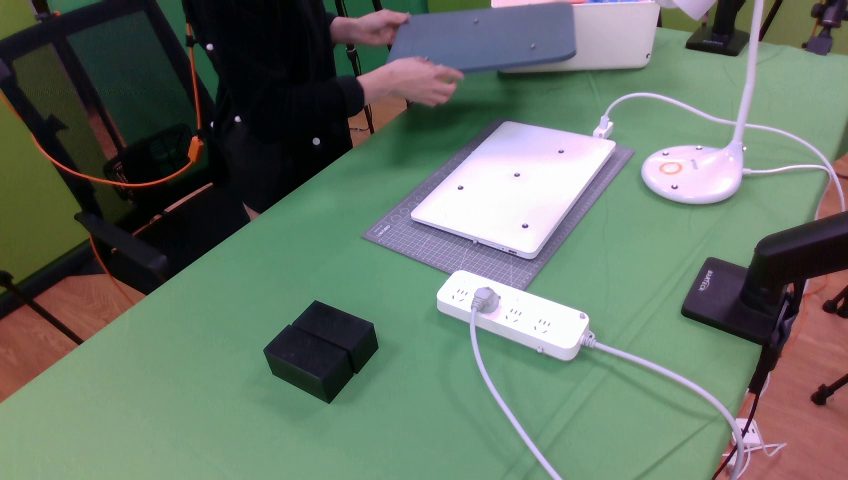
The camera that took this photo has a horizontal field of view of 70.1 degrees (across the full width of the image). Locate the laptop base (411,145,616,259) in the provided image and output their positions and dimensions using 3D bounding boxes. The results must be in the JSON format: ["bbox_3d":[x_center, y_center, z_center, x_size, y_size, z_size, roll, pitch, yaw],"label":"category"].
[{"bbox_3d":[0.168,-0.101,1.074,0.234,0.023,0.355,17,45,30],"label":"laptop base"}]

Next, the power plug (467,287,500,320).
[{"bbox_3d":[0.073,0.092,0.814,0.035,0.053,0.073,29,54,34],"label":"power plug"}]

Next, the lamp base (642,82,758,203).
[{"bbox_3d":[0.464,-0.174,0.992,0.179,0.181,0.159,-5,41,-1],"label":"lamp base"}]

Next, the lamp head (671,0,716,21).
[{"bbox_3d":[0.375,-0.373,0.807,0.122,0.113,0.112,-40,27,32],"label":"lamp head"}]

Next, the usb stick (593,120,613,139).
[{"bbox_3d":[0.336,-0.201,1.147,0.021,0.027,0.059,26,54,27],"label":"usb stick"}]

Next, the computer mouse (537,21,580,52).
[{"bbox_3d":[0.335,-0.503,1.488,0.118,0.041,0.062,21,20,-28],"label":"computer mouse"}]

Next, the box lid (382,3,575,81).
[{"bbox_3d":[0.113,-0.399,1.210,0.370,0.015,0.262,-2,42,13],"label":"box lid"}]

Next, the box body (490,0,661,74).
[{"bbox_3d":[0.346,-0.520,1.429,0.363,0.161,0.253,0,41,9],"label":"box body"}]

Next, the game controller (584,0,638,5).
[{"bbox_3d":[0.427,-0.548,1.425,0.155,0.052,0.096,-16,45,-10],"label":"game controller"}]

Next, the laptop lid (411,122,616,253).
[{"bbox_3d":[0.164,-0.111,1.067,0.240,0.013,0.357,19,46,31],"label":"laptop lid"}]

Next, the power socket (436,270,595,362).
[{"bbox_3d":[0.118,0.101,0.832,0.225,0.033,0.072,19,48,27],"label":"power socket"}]
